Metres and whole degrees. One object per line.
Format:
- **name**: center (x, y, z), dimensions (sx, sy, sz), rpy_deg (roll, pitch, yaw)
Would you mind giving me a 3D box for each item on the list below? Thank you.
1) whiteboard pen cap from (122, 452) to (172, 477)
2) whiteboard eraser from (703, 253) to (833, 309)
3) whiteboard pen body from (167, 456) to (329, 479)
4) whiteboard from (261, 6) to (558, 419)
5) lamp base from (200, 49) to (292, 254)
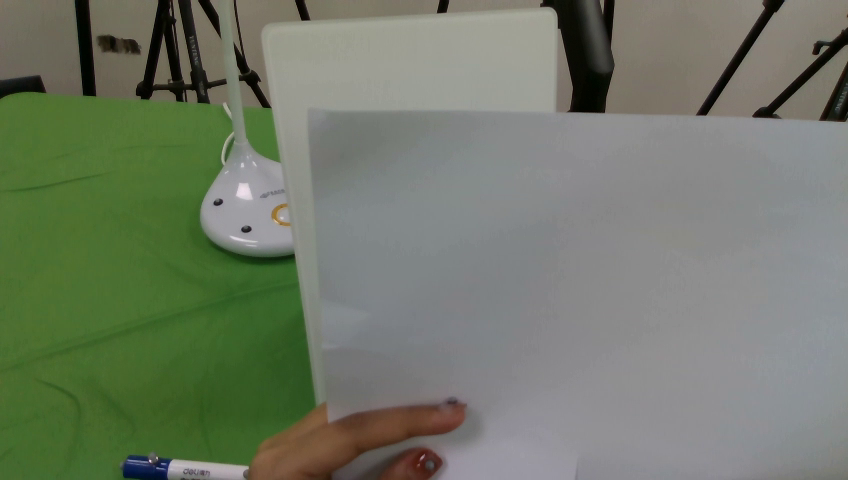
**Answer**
- **whiteboard pen cap**: center (-0.199, 0.163, 0.439), dimensions (0.033, 0.018, 0.018), rpy_deg (5, 38, -3)
- **whiteboard eraser**: center (0.356, 0.043, 0.631), dimensions (0.113, 0.042, 0.055), rpy_deg (-1, 40, -7)
- **whiteboard pen body**: center (-0.140, 0.169, 0.440), dimensions (0.141, 0.017, 0.017), rpy_deg (6, 38, -1)
- **whiteboard**: center (-0.013, -0.035, 0.533), dimensions (0.218, 0.307, 0.142), rpy_deg (-9, 21, -15)
- **lamp base**: center (-0.180, -0.103, 0.658), dimensions (0.177, 0.182, 0.161), rpy_deg (31, 46, 34)
